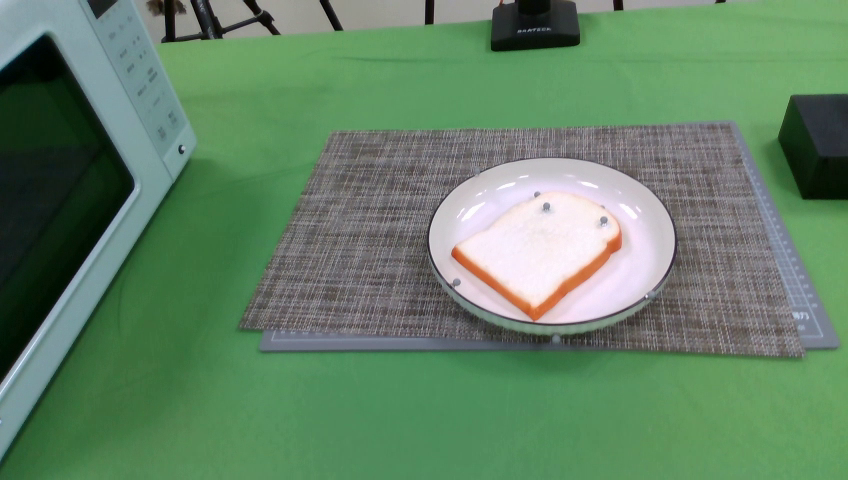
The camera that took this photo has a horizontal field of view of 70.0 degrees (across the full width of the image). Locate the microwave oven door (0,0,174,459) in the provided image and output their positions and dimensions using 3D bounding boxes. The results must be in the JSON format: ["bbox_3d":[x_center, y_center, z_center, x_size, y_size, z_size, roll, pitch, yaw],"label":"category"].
[{"bbox_3d":[-0.324,-0.028,0.464,0.039,0.246,0.352,-1,45,10],"label":"microwave oven door"}]

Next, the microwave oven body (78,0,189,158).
[{"bbox_3d":[-0.464,-0.051,0.521,0.325,0.263,0.437,0,45,9],"label":"microwave oven body"}]

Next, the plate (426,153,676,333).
[{"bbox_3d":[0.106,0.000,0.527,0.209,0.038,0.207,-5,44,6],"label":"plate"}]

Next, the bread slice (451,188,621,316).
[{"bbox_3d":[0.103,-0.001,0.530,0.131,0.019,0.104,-34,49,-23],"label":"bread slice"}]

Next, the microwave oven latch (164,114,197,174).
[{"bbox_3d":[-0.285,-0.109,0.688,0.030,0.030,0.078,0,46,10],"label":"microwave oven latch"}]
